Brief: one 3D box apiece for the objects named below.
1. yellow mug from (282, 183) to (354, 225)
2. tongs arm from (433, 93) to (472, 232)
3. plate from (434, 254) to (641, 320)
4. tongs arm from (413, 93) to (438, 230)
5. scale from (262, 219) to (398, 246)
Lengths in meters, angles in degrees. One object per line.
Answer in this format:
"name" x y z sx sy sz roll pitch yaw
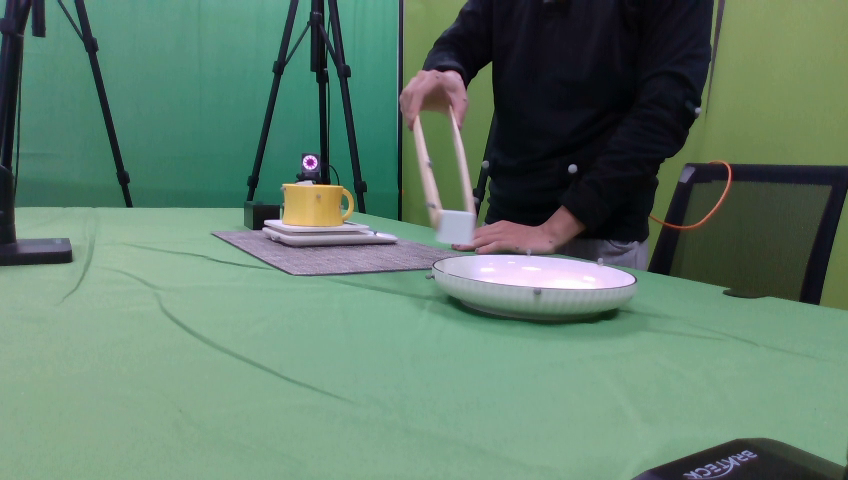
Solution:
"yellow mug" -0.172 -0.061 1.009 0.131 0.064 0.099 -2 7 -42
"tongs arm" 0.037 -0.120 0.803 0.028 0.028 0.386 0 32 -3
"plate" 0.114 0.047 0.625 0.208 0.039 0.207 2 7 0
"tongs arm" 0.012 -0.121 0.800 0.051 0.026 0.383 1 32 -8
"scale" -0.160 -0.016 1.028 0.202 0.031 0.148 -2 9 -32
